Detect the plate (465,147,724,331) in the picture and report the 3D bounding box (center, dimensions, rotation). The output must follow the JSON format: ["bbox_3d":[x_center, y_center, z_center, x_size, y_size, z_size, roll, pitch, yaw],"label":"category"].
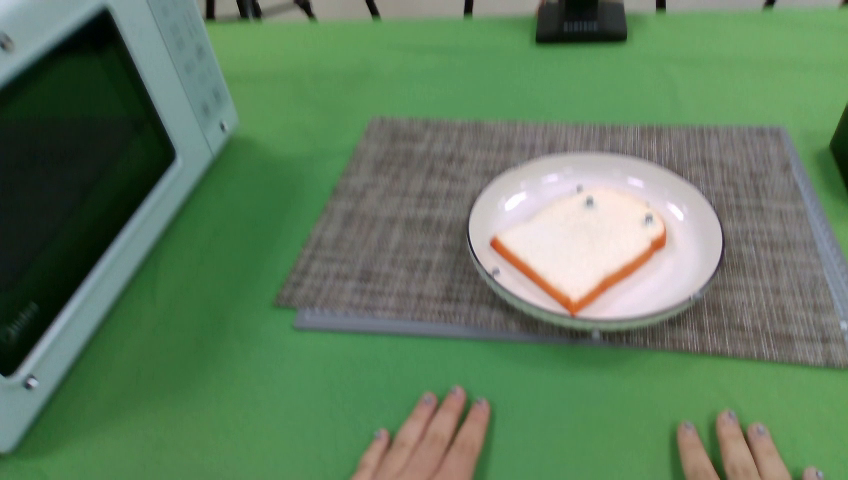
[{"bbox_3d":[0.139,-0.004,0.516,0.209,0.038,0.207,-4,45,5],"label":"plate"}]

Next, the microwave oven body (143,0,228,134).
[{"bbox_3d":[-0.426,-0.086,0.524,0.325,0.263,0.438,3,46,11],"label":"microwave oven body"}]

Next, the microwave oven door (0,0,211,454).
[{"bbox_3d":[-0.291,-0.054,0.464,0.039,0.246,0.353,2,46,11],"label":"microwave oven door"}]

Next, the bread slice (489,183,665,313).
[{"bbox_3d":[0.137,-0.004,0.519,0.131,0.019,0.104,-30,49,-21],"label":"bread slice"}]

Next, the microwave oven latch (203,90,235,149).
[{"bbox_3d":[-0.241,-0.136,0.686,0.030,0.030,0.078,4,47,11],"label":"microwave oven latch"}]
